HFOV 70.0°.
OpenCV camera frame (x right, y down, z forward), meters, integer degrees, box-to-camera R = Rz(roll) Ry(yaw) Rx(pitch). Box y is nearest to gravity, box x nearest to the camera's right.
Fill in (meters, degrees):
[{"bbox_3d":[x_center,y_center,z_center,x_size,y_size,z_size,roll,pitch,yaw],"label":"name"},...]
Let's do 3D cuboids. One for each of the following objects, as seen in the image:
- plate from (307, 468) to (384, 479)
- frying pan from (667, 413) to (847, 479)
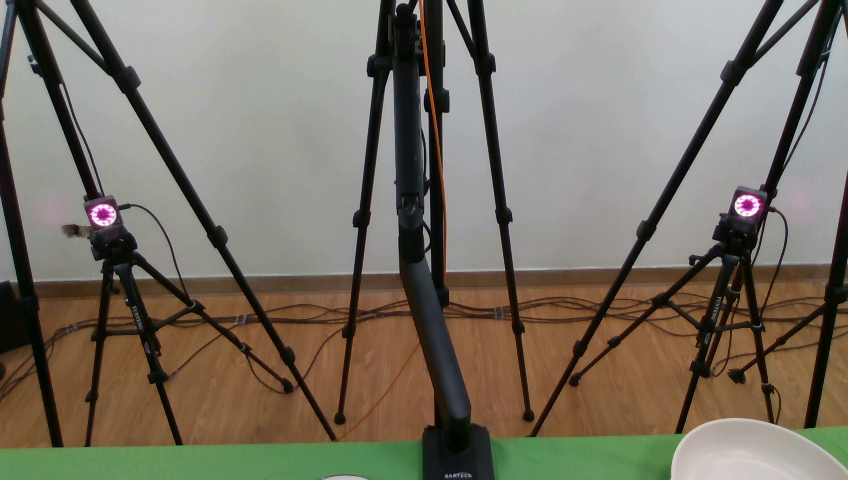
[{"bbox_3d":[-0.128,0.448,0.920,0.208,0.039,0.205,0,35,1],"label":"plate"},{"bbox_3d":[0.517,0.452,0.845,0.306,0.103,0.484,1,27,5],"label":"frying pan"}]
